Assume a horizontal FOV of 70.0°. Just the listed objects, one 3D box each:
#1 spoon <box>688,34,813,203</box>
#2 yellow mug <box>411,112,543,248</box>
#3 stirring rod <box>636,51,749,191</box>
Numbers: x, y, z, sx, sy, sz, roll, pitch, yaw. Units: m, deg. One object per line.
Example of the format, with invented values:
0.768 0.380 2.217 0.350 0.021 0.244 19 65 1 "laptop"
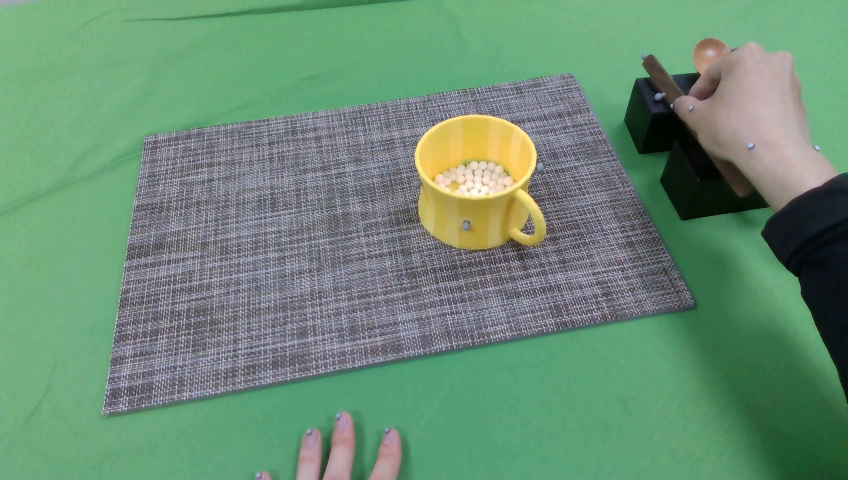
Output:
0.279 -0.110 0.520 0.041 0.022 0.191 -10 55 -4 "spoon"
0.050 -0.043 0.509 0.100 0.064 0.129 -36 60 -23 "yellow mug"
0.225 -0.107 0.520 0.006 0.014 0.174 11 45 -33 "stirring rod"
